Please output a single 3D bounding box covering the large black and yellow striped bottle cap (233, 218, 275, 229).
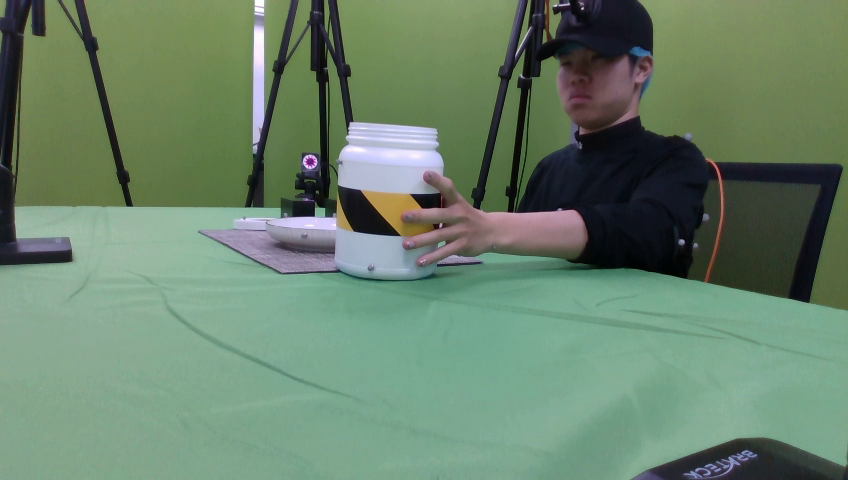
[{"bbox_3d":[-0.311,-0.032,1.172,0.115,0.019,0.115,1,4,0],"label":"large black and yellow striped bottle cap"}]

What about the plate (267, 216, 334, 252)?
[{"bbox_3d":[-0.145,-0.010,0.967,0.208,0.039,0.207,2,7,0],"label":"plate"}]

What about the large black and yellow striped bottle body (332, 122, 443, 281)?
[{"bbox_3d":[-0.045,-0.051,0.755,0.131,0.184,0.130,4,10,0],"label":"large black and yellow striped bottle body"}]
